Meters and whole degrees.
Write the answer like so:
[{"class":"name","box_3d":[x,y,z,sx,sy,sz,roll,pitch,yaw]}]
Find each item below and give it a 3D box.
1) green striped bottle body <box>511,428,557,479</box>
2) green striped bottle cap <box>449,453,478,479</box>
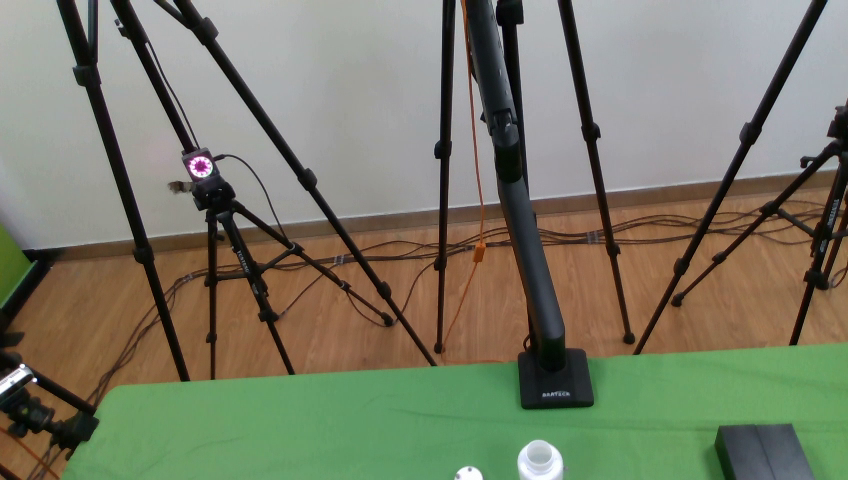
[{"class":"green striped bottle body","box_3d":[0.159,0.319,0.875,0.063,0.120,0.062,-7,42,6]},{"class":"green striped bottle cap","box_3d":[0.061,0.355,0.939,0.044,0.020,0.044,-6,46,6]}]
